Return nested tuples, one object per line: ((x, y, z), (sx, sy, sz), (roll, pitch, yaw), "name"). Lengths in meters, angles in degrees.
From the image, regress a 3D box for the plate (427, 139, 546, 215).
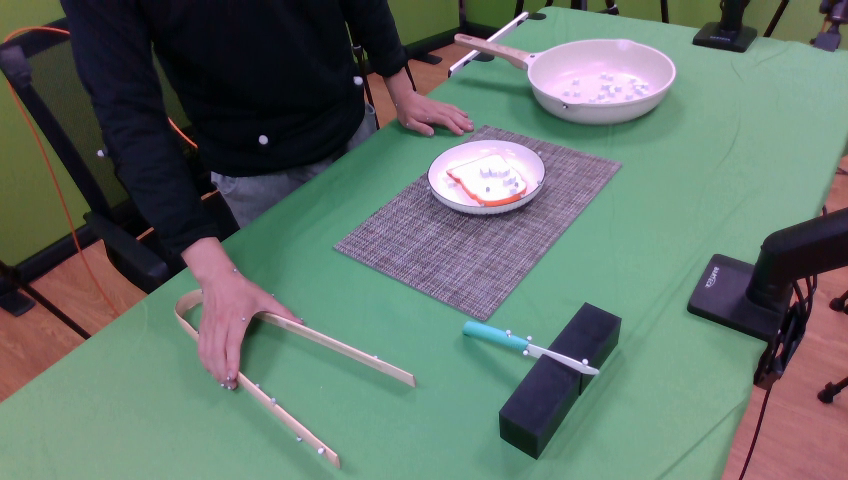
((0.109, -0.106, 1.059), (0.207, 0.039, 0.206), (-4, 41, 4), "plate")

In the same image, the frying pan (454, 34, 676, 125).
((0.277, -0.370, 1.295), (0.485, 0.103, 0.307), (26, 49, 22), "frying pan")

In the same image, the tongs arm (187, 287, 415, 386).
((-0.180, 0.128, 0.838), (0.385, 0.028, 0.028), (16, 49, 25), "tongs arm")

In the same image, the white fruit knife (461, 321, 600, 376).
((0.126, 0.133, 0.752), (0.205, 0.027, 0.016), (13, 44, 42), "white fruit knife")

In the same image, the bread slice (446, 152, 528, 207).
((0.118, -0.104, 1.057), (0.107, 0.018, 0.133), (-24, 42, -18), "bread slice")

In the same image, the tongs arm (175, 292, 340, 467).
((-0.226, 0.168, 0.794), (0.381, 0.026, 0.051), (25, 50, 33), "tongs arm")
